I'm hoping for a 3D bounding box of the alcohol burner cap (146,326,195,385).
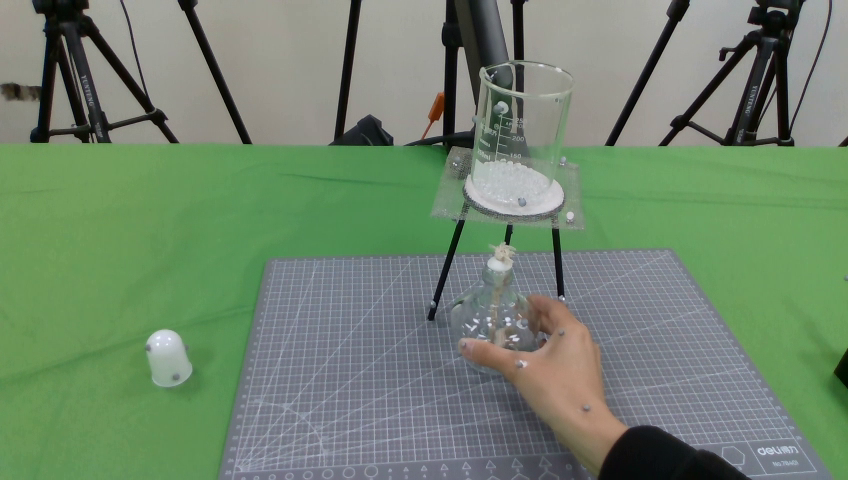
[{"bbox_3d":[-0.212,0.093,0.501,0.034,0.048,0.033,1,35,-1],"label":"alcohol burner cap"}]

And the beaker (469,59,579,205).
[{"bbox_3d":[0.074,-0.087,0.492,0.083,0.101,0.074,32,44,33],"label":"beaker"}]

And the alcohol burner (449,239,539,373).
[{"bbox_3d":[0.059,0.052,0.509,0.078,0.120,0.077,-1,32,1],"label":"alcohol burner"}]

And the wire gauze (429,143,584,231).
[{"bbox_3d":[0.073,-0.046,0.519,0.121,0.011,0.124,7,38,7],"label":"wire gauze"}]

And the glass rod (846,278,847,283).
[{"bbox_3d":[0.401,0.094,0.489,0.008,0.008,0.197,1,36,-2],"label":"glass rod"}]

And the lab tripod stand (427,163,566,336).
[{"bbox_3d":[0.077,0.008,0.557,0.148,0.132,0.147,4,35,-2],"label":"lab tripod stand"}]
